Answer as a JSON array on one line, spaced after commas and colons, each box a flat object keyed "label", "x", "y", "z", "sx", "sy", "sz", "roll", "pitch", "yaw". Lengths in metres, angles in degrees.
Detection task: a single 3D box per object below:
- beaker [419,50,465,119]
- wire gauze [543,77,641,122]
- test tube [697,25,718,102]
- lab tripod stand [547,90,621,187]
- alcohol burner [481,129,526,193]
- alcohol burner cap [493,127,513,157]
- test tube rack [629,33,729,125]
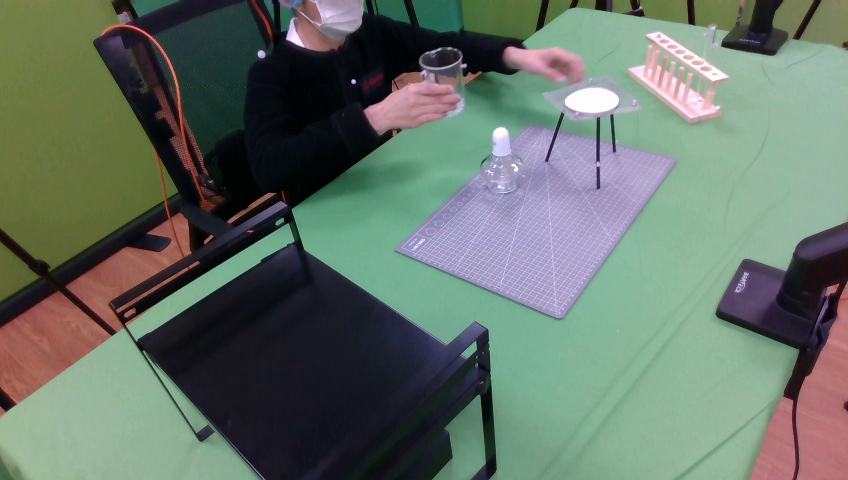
[{"label": "beaker", "x": 0.033, "y": -0.275, "z": 1.074, "sx": 0.074, "sy": 0.101, "sz": 0.083, "roll": -23, "pitch": 45, "yaw": -13}, {"label": "wire gauze", "x": 0.282, "y": -0.236, "z": 1.020, "sx": 0.125, "sy": 0.011, "sz": 0.120, "roll": -15, "pitch": 40, "yaw": -6}, {"label": "test tube", "x": 0.546, "y": -0.337, "z": 1.166, "sx": 0.017, "sy": 0.151, "sz": 0.017, "roll": -5, "pitch": 36, "yaw": 4}, {"label": "lab tripod stand", "x": 0.289, "y": -0.184, "z": 1.062, "sx": 0.148, "sy": 0.132, "sz": 0.147, "roll": -6, "pitch": 41, "yaw": 6}, {"label": "alcohol burner", "x": 0.138, "y": -0.142, "z": 1.052, "sx": 0.078, "sy": 0.119, "sz": 0.077, "roll": -5, "pitch": 42, "yaw": 5}, {"label": "alcohol burner cap", "x": 0.133, "y": -0.169, "z": 1.030, "sx": 0.034, "sy": 0.048, "sz": 0.033, "roll": -7, "pitch": 35, "yaw": 5}, {"label": "test tube rack", "x": 0.516, "y": -0.337, "z": 1.247, "sx": 0.067, "sy": 0.085, "sz": 0.240, "roll": -14, "pitch": 41, "yaw": -7}]
